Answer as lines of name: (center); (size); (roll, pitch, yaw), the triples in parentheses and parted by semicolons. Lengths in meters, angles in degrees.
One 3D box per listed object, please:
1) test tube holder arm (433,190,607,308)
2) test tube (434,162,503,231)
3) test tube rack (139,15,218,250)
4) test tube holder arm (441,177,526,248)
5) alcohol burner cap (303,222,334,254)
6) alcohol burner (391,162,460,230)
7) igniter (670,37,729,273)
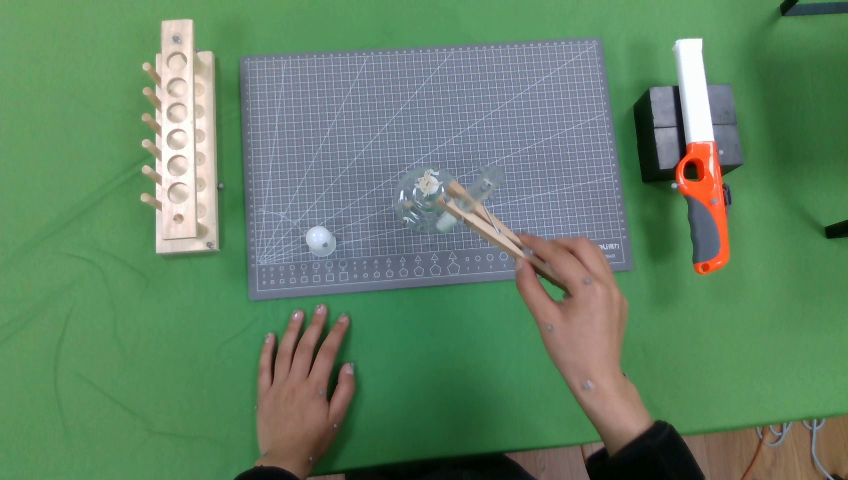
test tube holder arm: (0.085, 0.010, 0.526); (0.179, 0.015, 0.013); (34, 69, -8)
test tube: (0.034, -0.033, 0.513); (0.017, 0.150, 0.017); (3, 75, -14)
test tube rack: (-0.278, -0.116, 0.676); (0.067, 0.085, 0.241); (-4, 80, -3)
test tube holder arm: (0.052, -0.021, 0.523); (0.088, 0.015, 0.010); (42, 67, -5)
alcohol burner cap: (-0.121, -0.005, 0.685); (0.034, 0.048, 0.033); (1, 79, -2)
alcohol burner: (0.003, -0.052, 0.664); (0.078, 0.119, 0.077); (0, 81, -2)
igniter: (0.311, -0.100, 0.690); (0.057, 0.025, 0.275); (-2, 80, 3)
